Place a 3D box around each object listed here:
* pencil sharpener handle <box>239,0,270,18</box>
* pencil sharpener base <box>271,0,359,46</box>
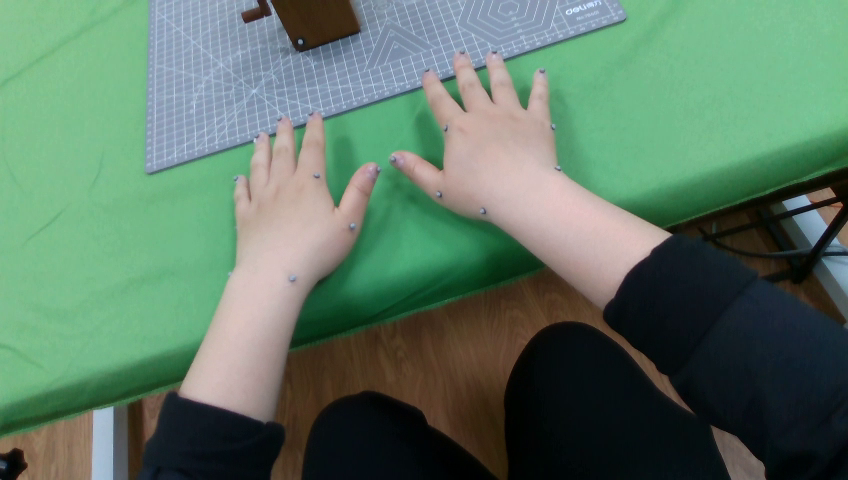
[{"bbox_3d":[-0.163,-0.231,0.544,0.030,0.068,0.035,-19,58,2],"label":"pencil sharpener handle"},{"bbox_3d":[-0.113,-0.242,0.553,0.077,0.108,0.061,-19,59,2],"label":"pencil sharpener base"}]
